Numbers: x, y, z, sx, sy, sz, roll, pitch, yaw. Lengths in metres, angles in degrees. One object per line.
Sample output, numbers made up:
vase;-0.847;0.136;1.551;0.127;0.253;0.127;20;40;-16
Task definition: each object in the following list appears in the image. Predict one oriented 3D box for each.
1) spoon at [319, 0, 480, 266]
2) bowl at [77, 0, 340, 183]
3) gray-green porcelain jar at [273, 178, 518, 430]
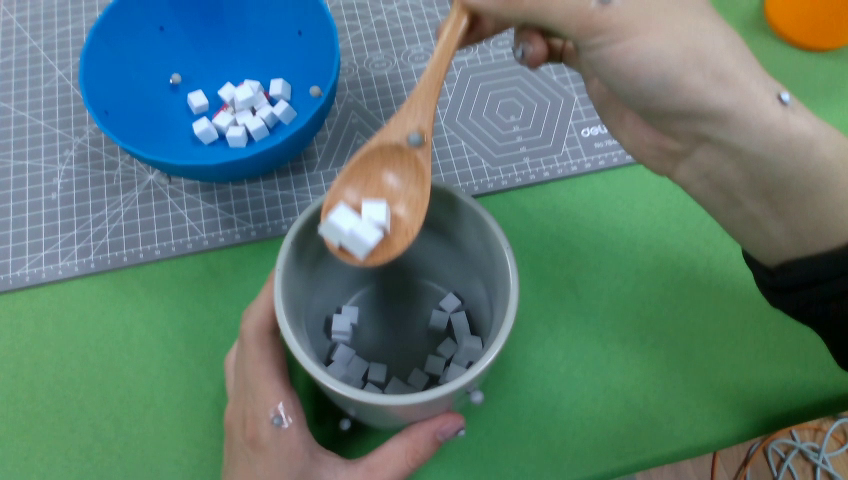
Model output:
spoon;0.010;-0.079;0.245;0.041;0.022;0.193;25;91;9
bowl;-0.125;-0.093;0.388;0.151;0.077;0.150;1;68;-1
gray-green porcelain jar;-0.013;0.041;0.314;0.106;0.127;0.105;0;67;-1
